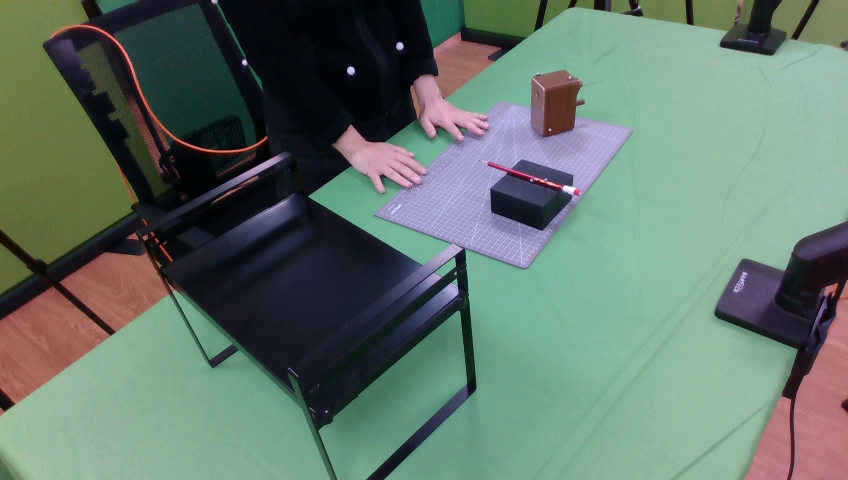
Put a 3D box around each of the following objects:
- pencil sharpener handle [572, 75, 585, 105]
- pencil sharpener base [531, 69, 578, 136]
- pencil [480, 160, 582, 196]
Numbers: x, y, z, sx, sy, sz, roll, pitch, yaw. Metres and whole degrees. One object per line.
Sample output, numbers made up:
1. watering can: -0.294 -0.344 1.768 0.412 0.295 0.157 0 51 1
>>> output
1. pencil sharpener handle: 0.303 -0.292 1.181 0.031 0.068 0.035 -15 49 -9
2. pencil sharpener base: 0.256 -0.268 1.179 0.077 0.107 0.061 -15 41 -9
3. pencil: 0.173 -0.106 1.003 0.192 0.012 0.012 23 49 31
